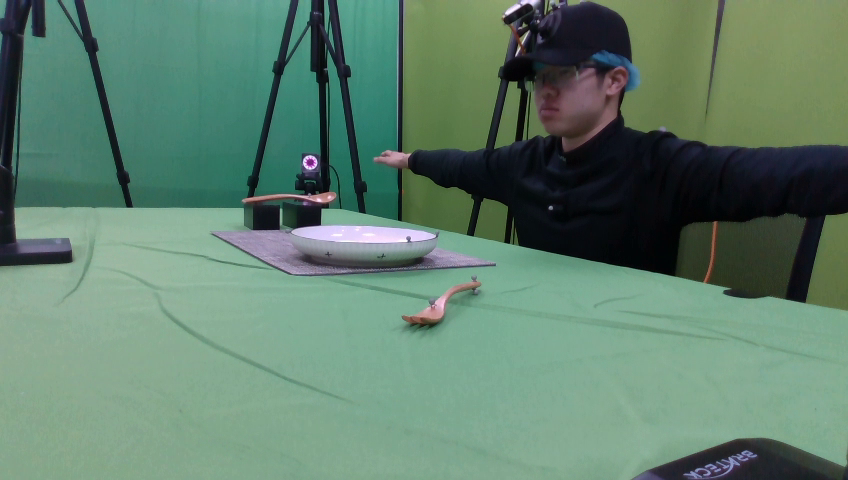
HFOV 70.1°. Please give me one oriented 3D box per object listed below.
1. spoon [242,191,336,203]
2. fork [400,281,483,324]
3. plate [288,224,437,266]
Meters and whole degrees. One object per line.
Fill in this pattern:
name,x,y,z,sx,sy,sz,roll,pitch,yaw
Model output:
spoon,-0.271,-0.087,1.225,0.195,0.021,0.041,-2,31,-31
fork,0.025,0.057,0.590,0.028,0.018,0.208,-2,7,21
plate,-0.086,0.007,0.852,0.208,0.039,0.207,2,7,0
